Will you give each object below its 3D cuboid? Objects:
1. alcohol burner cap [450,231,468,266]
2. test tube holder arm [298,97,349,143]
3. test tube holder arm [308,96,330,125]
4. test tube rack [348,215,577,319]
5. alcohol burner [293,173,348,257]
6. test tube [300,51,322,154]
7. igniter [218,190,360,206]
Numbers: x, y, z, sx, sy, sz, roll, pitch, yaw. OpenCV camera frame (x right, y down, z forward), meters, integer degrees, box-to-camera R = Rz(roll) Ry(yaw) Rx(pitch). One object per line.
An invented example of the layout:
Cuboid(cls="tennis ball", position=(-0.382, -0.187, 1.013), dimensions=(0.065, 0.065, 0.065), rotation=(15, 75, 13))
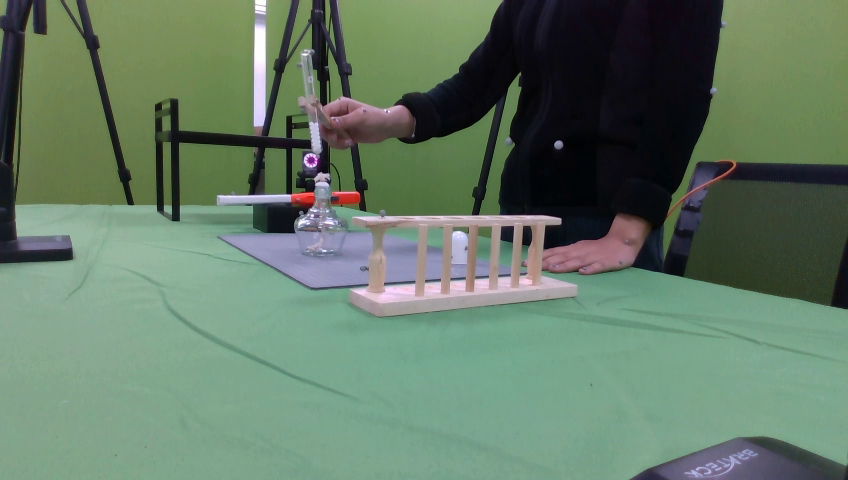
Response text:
Cuboid(cls="alcohol burner cap", position=(0.046, 0.012, 0.839), dimensions=(0.034, 0.048, 0.034), rotation=(3, 6, 0))
Cuboid(cls="test tube holder arm", position=(-0.149, -0.180, 0.922), dimensions=(0.013, 0.015, 0.179), rotation=(-4, -9, 11))
Cuboid(cls="test tube holder arm", position=(-0.151, -0.187, 0.877), dimensions=(0.010, 0.015, 0.088), rotation=(-4, -8, 5))
Cuboid(cls="test tube rack", position=(0.048, 0.021, 0.619), dimensions=(0.244, 0.085, 0.066), rotation=(-2, 9, -31))
Cuboid(cls="alcohol burner", position=(-0.146, -0.036, 0.859), dimensions=(0.078, 0.119, 0.078), rotation=(4, 8, 0))
Cuboid(cls="test tube", position=(-0.160, -0.195, 0.856), dimensions=(0.017, 0.150, 0.017), rotation=(-7, -6, 0))
Cuboid(cls="igniter", position=(-0.247, -0.080, 1.150), dimensions=(0.278, 0.025, 0.057), rotation=(-5, 8, -29))
